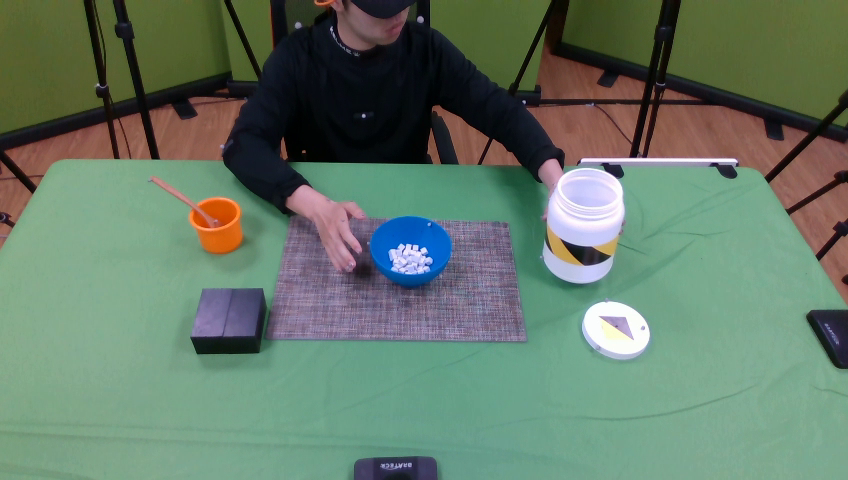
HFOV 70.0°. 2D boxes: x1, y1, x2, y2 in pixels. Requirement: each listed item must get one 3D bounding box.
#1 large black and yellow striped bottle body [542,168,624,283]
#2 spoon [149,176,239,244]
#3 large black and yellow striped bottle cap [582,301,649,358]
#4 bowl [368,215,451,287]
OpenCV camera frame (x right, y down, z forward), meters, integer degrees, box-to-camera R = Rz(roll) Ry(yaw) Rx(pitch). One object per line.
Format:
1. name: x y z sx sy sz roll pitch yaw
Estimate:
1. large black and yellow striped bottle body: 0.287 -0.027 1.096 0.131 0.185 0.130 -2 46 2
2. spoon: -0.427 -0.057 1.132 0.021 0.195 0.041 -27 31 34
3. large black and yellow striped bottle cap: 0.340 0.157 1.077 0.115 0.019 0.114 1 47 -1
4. bowl: -0.028 0.033 1.119 0.151 0.077 0.150 2 46 -2
